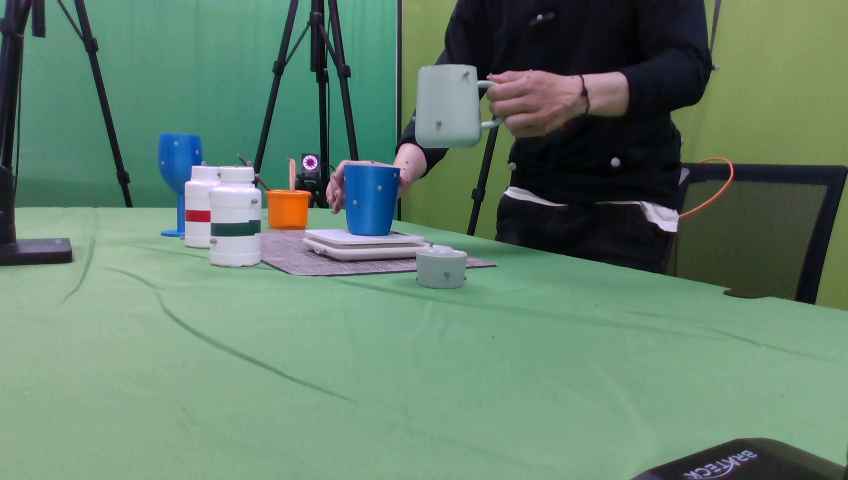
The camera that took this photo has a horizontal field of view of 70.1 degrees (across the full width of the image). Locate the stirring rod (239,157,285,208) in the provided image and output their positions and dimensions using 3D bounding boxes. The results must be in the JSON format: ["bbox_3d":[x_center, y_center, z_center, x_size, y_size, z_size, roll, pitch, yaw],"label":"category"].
[{"bbox_3d":[-0.309,-0.098,1.209,0.006,0.177,0.014,-38,29,-2],"label":"stirring rod"}]

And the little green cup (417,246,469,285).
[{"bbox_3d":[0.021,0.029,0.701,0.061,0.038,0.061,2,6,0],"label":"little green cup"}]

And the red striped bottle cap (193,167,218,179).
[{"bbox_3d":[-0.329,-0.103,0.921,0.044,0.017,0.044,0,8,0],"label":"red striped bottle cap"}]

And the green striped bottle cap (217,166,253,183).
[{"bbox_3d":[-0.242,-0.085,0.776,0.044,0.020,0.044,2,8,0],"label":"green striped bottle cap"}]

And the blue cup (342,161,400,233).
[{"bbox_3d":[-0.079,-0.062,0.884,0.093,0.100,0.092,3,4,0],"label":"blue cup"}]

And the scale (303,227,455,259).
[{"bbox_3d":[-0.066,0.001,0.906,0.202,0.031,0.148,-2,8,-31],"label":"scale"}]

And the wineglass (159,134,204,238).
[{"bbox_3d":[-0.415,-0.093,1.040,0.074,0.172,0.073,2,7,0],"label":"wineglass"}]

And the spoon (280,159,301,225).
[{"bbox_3d":[-0.273,-0.102,1.252,0.042,0.193,0.021,7,-38,-17],"label":"spoon"}]

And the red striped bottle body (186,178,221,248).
[{"bbox_3d":[-0.331,-0.050,0.927,0.063,0.119,0.063,2,6,0],"label":"red striped bottle body"}]

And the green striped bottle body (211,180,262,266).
[{"bbox_3d":[-0.243,-0.029,0.784,0.063,0.119,0.063,2,7,0],"label":"green striped bottle body"}]

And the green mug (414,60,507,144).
[{"bbox_3d":[0.049,-0.183,0.815,0.125,0.105,0.092,-2,8,2],"label":"green mug"}]
